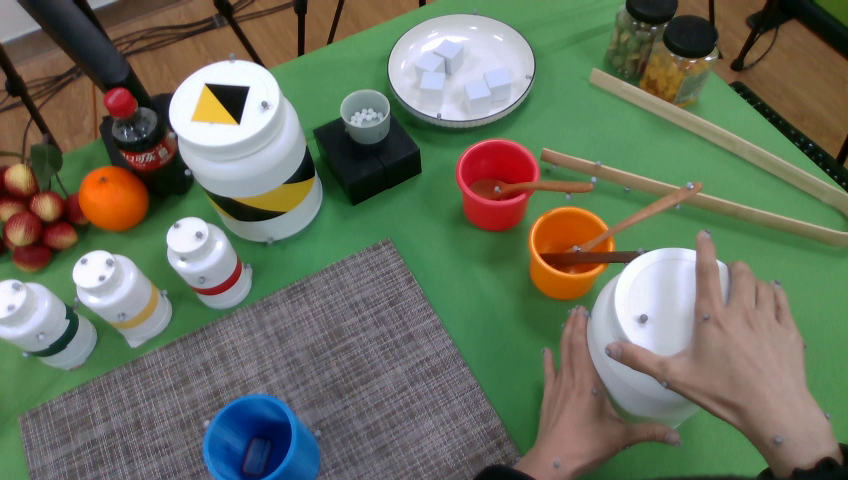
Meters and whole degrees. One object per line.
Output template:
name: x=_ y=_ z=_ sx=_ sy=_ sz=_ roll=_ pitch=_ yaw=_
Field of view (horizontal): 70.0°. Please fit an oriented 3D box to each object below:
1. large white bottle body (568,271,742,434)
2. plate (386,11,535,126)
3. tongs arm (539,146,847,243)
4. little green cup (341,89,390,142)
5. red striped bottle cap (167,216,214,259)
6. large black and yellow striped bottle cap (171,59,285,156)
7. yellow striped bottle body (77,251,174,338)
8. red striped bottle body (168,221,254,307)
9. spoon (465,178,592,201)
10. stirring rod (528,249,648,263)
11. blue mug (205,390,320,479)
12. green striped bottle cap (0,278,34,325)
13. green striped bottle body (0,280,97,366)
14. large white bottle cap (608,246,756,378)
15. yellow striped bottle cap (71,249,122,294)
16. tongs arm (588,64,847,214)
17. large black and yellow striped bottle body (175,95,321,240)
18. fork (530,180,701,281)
large white bottle body: x=0.215 y=0.100 z=0.573 sx=0.130 sy=0.186 sz=0.129 roll=-1 pitch=60 yaw=2
plate: x=0.050 y=-0.238 z=0.856 sx=0.209 sy=0.038 sz=0.207 roll=-1 pitch=61 yaw=2
tongs arm: x=0.334 y=-0.066 z=0.748 sx=0.383 sy=0.027 sz=0.050 roll=20 pitch=60 yaw=13
little green cup: x=-0.071 y=-0.154 z=0.754 sx=0.061 sy=0.039 sz=0.061 roll=0 pitch=57 yaw=1
red striped bottle cap: x=-0.242 y=-0.003 z=0.627 sx=0.044 sy=0.018 sz=0.044 roll=1 pitch=57 yaw=-1
large black and yellow striped bottle cap: x=-0.203 y=-0.139 z=0.627 sx=0.115 sy=0.019 sz=0.114 roll=-2 pitch=63 yaw=4
yellow striped bottle body: x=-0.327 y=0.056 z=0.657 sx=0.063 sy=0.121 sz=0.062 roll=-2 pitch=59 yaw=3
red striped bottle body: x=-0.238 y=0.023 z=0.673 sx=0.063 sy=0.121 sz=0.062 roll=-2 pitch=60 yaw=5
spoon: x=0.113 y=-0.061 z=0.693 sx=0.041 sy=0.192 sz=0.022 roll=-44 pitch=112 yaw=-24
stirring rod: x=0.181 y=0.017 z=0.648 sx=0.175 sy=0.006 sz=0.014 roll=-4 pitch=41 yaw=50
blue mug: x=-0.157 y=0.210 z=0.568 sx=0.082 sy=0.107 sz=0.116 roll=25 pitch=65 yaw=17
green striped bottle cap: x=-0.412 y=0.060 z=0.598 sx=0.044 sy=0.020 sz=0.044 roll=1 pitch=60 yaw=-1
green striped bottle body: x=-0.408 y=0.086 z=0.644 sx=0.063 sy=0.120 sz=0.062 roll=-1 pitch=60 yaw=1
large white bottle cap: x=0.211 y=0.057 z=0.500 sx=0.115 sy=0.018 sz=0.114 roll=-1 pitch=59 yaw=3
yellow striped bottle cap: x=-0.330 y=0.031 z=0.611 sx=0.044 sy=0.019 sz=0.044 roll=0 pitch=56 yaw=0
tongs arm: x=0.380 y=-0.134 z=0.788 sx=0.385 sy=0.028 sz=0.028 roll=35 pitch=60 yaw=20
large black and yellow striped bottle body: x=-0.200 y=-0.097 z=0.702 sx=0.131 sy=0.185 sz=0.129 roll=-1 pitch=60 yaw=2
fork: x=0.201 y=-0.008 z=0.656 sx=0.207 sy=0.019 sz=0.028 roll=-36 pitch=52 yaw=34
